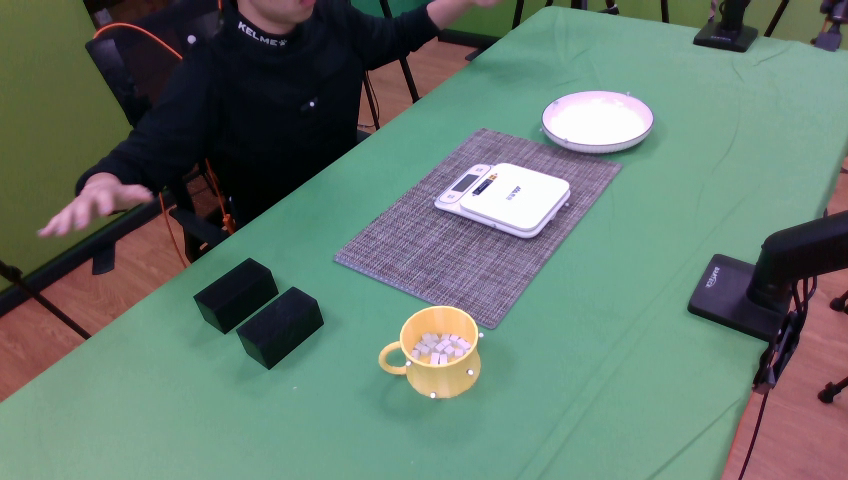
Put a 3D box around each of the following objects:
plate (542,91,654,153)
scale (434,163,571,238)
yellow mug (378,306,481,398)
[{"bbox_3d":[0.334,-0.224,1.171,0.209,0.038,0.208,-4,40,4],"label":"plate"},{"bbox_3d":[0.132,-0.075,1.025,0.199,0.032,0.149,22,48,30],"label":"scale"},{"bbox_3d":[0.006,0.144,0.766,0.131,0.064,0.099,-10,40,-2],"label":"yellow mug"}]
